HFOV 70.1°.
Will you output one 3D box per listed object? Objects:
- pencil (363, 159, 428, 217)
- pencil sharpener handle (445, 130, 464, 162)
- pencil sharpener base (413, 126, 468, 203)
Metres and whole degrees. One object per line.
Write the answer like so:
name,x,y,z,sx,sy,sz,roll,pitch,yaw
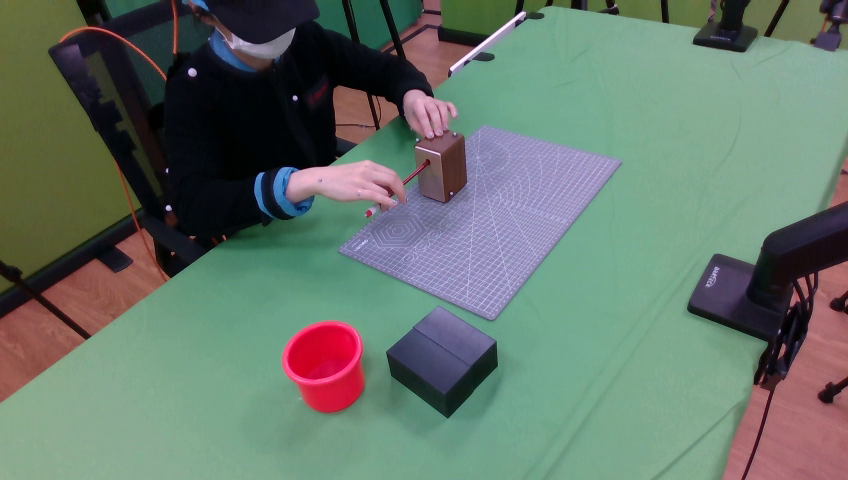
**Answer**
pencil,-0.033,-0.096,0.979,0.012,0.012,0.194,23,51,31
pencil sharpener handle,0.059,-0.171,1.070,0.036,0.068,0.031,26,50,25
pencil sharpener base,0.032,-0.132,1.047,0.061,0.107,0.077,21,48,30
